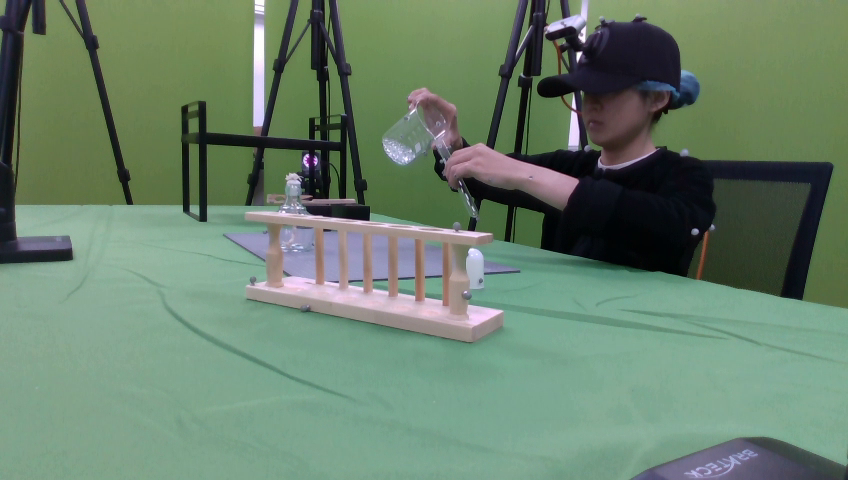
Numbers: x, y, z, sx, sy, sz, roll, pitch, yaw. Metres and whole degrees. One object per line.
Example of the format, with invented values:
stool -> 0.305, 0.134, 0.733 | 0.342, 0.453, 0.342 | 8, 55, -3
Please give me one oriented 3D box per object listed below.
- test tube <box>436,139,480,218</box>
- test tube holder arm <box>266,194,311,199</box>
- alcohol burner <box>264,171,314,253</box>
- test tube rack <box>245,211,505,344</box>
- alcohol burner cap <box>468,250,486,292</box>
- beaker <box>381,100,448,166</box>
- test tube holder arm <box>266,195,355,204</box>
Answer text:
test tube -> 0.054, -0.099, 0.973 | 0.017, 0.150, 0.017 | -21, -20, -8
test tube holder arm -> -0.262, -0.084, 1.173 | 0.088, 0.010, 0.015 | -3, 2, -30
alcohol burner -> -0.194, -0.042, 0.888 | 0.078, 0.119, 0.078 | 3, 5, 0
test tube rack -> -0.049, 0.025, 0.547 | 0.241, 0.085, 0.067 | 7, 8, 29
alcohol burner cap -> 0.056, 0.035, 0.690 | 0.034, 0.048, 0.034 | 2, 7, 0
beaker -> -0.017, -0.177, 1.034 | 0.100, 0.084, 0.074 | -33, -20, 36
test tube holder arm -> -0.222, -0.081, 1.196 | 0.179, 0.013, 0.015 | -4, 3, -30
